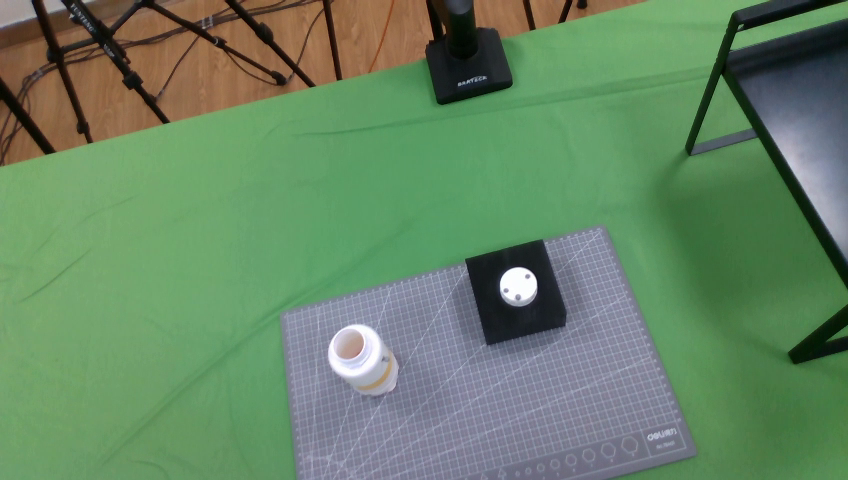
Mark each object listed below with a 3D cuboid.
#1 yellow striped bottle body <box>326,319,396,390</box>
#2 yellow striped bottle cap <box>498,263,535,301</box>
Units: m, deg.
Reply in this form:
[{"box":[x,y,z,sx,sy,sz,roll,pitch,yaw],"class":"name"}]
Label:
[{"box":[-0.075,0.133,0.709,0.063,0.121,0.062,-4,64,8],"class":"yellow striped bottle body"},{"box":[0.110,0.050,0.720,0.044,0.019,0.044,-3,67,7],"class":"yellow striped bottle cap"}]
